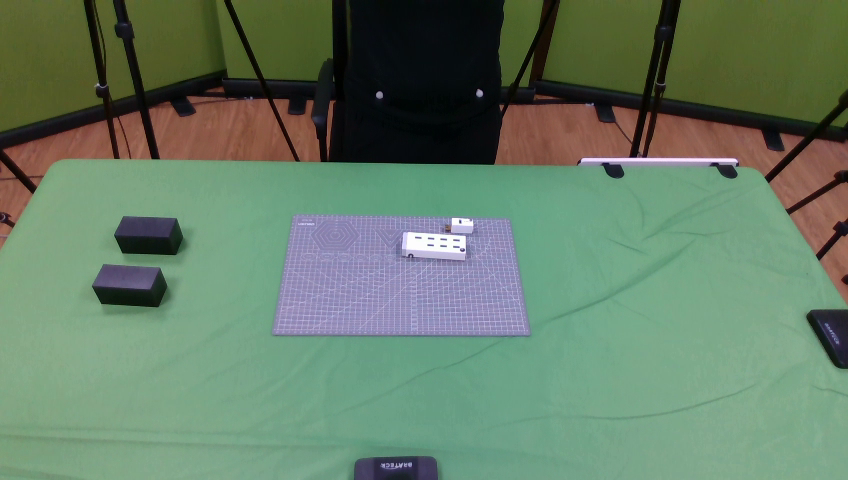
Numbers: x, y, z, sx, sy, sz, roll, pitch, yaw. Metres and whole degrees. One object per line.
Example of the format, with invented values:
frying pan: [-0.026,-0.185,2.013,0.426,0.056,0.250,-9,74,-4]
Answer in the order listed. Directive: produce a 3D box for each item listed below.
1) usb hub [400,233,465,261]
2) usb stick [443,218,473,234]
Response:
usb hub: [0.018,0.013,1.180,0.125,0.025,0.049,4,46,0]
usb stick: [0.068,-0.028,1.222,0.059,0.027,0.021,1,45,0]
